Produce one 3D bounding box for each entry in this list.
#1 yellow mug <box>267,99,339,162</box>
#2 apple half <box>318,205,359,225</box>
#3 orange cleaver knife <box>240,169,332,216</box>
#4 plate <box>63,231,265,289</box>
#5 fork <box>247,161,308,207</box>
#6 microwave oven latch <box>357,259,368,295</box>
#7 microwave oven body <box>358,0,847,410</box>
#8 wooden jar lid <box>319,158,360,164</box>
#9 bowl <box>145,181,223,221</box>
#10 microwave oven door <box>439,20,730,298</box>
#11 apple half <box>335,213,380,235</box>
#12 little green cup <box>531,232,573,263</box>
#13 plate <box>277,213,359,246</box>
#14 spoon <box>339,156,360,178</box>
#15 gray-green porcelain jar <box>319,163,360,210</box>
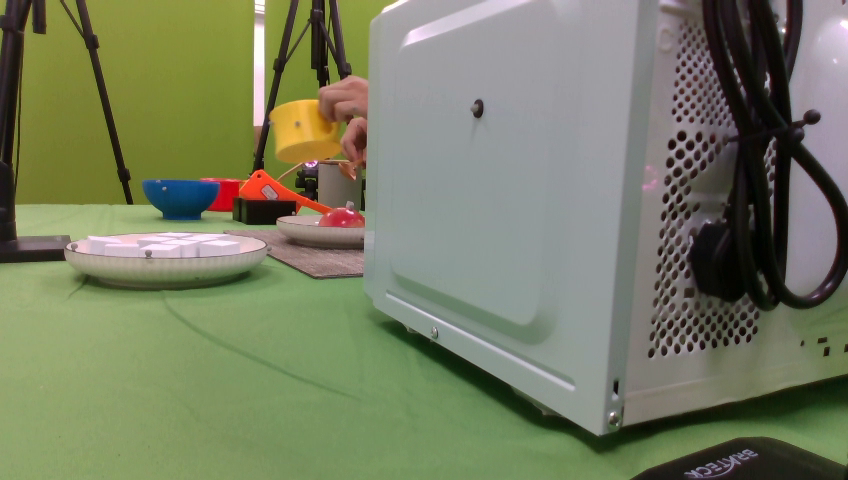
[{"bbox_3d":[-0.174,-0.170,0.915,0.130,0.064,0.100,-18,-10,40],"label":"yellow mug"},{"bbox_3d":[-0.126,-0.028,0.954,0.081,0.053,0.074,-2,11,-33],"label":"apple half"},{"bbox_3d":[-0.286,-0.082,1.298,0.212,0.077,0.012,25,-2,-31],"label":"orange cleaver knife"},{"bbox_3d":[-0.288,0.021,0.687,0.208,0.039,0.207,2,8,0],"label":"plate"},{"bbox_3d":[-0.360,-0.147,1.523,0.207,0.018,0.028,-43,15,-6],"label":"fork"},{"bbox_3d":[-0.019,0.031,0.529,0.079,0.029,0.030,-1,7,-27],"label":"microwave oven latch"},{"bbox_3d":[0.210,-0.051,0.471,0.444,0.260,0.324,-1,7,-28],"label":"microwave oven body"},{"bbox_3d":[-0.203,-0.189,1.482,0.108,0.020,0.108,2,10,0],"label":"wooden jar lid"},{"bbox_3d":[-0.499,-0.081,1.261,0.151,0.077,0.151,2,8,0],"label":"bowl"},{"bbox_3d":[0.181,-0.076,0.618,0.358,0.243,0.039,-2,8,-28],"label":"microwave oven door"},{"bbox_3d":[-0.112,-0.030,1.034,0.081,0.033,0.081,-1,9,0],"label":"apple half"},{"bbox_3d":[0.185,0.011,0.880,0.061,0.038,0.061,2,6,0],"label":"little green cup"},{"bbox_3d":[-0.135,-0.018,0.994,0.209,0.038,0.209,2,7,0],"label":"plate"},{"bbox_3d":[-0.122,-0.150,1.134,0.041,0.021,0.194,43,23,-6],"label":"spoon"},{"bbox_3d":[-0.204,-0.126,1.489,0.106,0.126,0.106,2,7,0],"label":"gray-green porcelain jar"}]
